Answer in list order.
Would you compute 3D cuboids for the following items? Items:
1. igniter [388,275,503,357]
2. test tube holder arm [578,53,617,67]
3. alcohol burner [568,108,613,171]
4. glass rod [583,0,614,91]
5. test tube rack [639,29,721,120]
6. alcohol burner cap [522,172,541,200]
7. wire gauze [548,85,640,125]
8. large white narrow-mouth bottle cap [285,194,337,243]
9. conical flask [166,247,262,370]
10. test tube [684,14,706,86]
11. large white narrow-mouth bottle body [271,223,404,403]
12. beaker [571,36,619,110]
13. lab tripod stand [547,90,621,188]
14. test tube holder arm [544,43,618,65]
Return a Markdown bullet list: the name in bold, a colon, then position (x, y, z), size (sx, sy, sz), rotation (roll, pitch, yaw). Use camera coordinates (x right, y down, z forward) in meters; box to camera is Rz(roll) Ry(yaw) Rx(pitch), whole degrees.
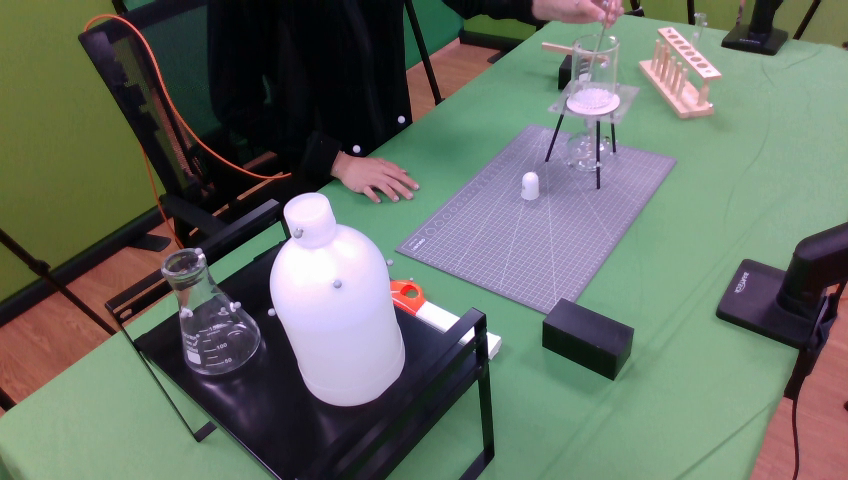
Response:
- **igniter**: position (-0.008, 0.093, 0.870), size (0.274, 0.025, 0.057), rotation (24, 60, 33)
- **test tube holder arm**: position (0.376, -0.394, 1.314), size (0.087, 0.015, 0.010), rotation (26, 50, 32)
- **alcohol burner**: position (0.296, -0.182, 1.074), size (0.078, 0.119, 0.077), rotation (-5, 43, 5)
- **glass rod**: position (0.282, -0.324, 0.963), size (0.008, 0.200, 0.008), rotation (2, 48, -2)
- **test tube rack**: position (0.527, -0.351, 1.262), size (0.067, 0.085, 0.241), rotation (-8, 40, 1)
- **alcohol burner cap**: position (0.186, -0.096, 1.047), size (0.034, 0.048, 0.033), rotation (-5, 39, 4)
- **wire gauze**: position (0.286, -0.233, 1.020), size (0.124, 0.011, 0.122), rotation (15, 43, 30)
- **large white narrow-mouth bottle cap**: position (-0.087, -0.017, 0.468), size (0.038, 0.024, 0.037), rotation (-4, 40, 4)
- **conical flask**: position (-0.209, 0.064, 0.585), size (0.075, 0.122, 0.075), rotation (-5, 40, 4)
- **test tube**: position (0.541, -0.378, 1.215), size (0.017, 0.151, 0.017), rotation (-2, 44, 3)
- **large white narrow-mouth bottle body**: position (-0.077, 0.048, 0.525), size (0.102, 0.195, 0.101), rotation (-5, 40, 4)
- **beaker**: position (0.281, -0.273, 0.992), size (0.084, 0.101, 0.073), rotation (-24, 42, -16)
- **lab tripod stand**: position (0.289, -0.184, 1.062), size (0.148, 0.132, 0.147), rotation (-6, 41, 6)
- **test tube holder arm**: position (0.345, -0.413, 1.341), size (0.177, 0.015, 0.013), rotation (25, 49, 32)
